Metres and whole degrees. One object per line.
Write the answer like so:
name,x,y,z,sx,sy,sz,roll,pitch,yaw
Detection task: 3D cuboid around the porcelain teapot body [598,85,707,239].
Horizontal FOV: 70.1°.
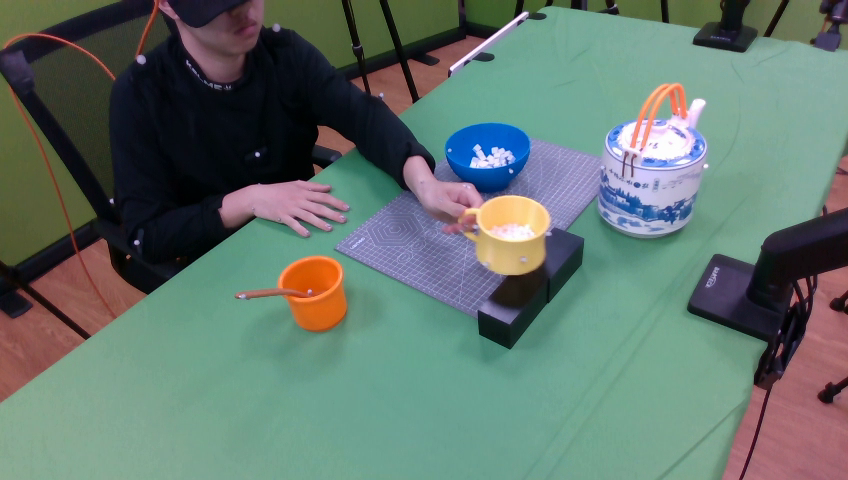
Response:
porcelain teapot body,0.363,-0.137,0.921,0.144,0.226,0.206,29,51,36

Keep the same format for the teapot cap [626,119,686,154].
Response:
teapot cap,0.338,-0.153,0.882,0.085,0.044,0.085,-3,38,3

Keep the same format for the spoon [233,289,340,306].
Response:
spoon,-0.180,0.075,0.811,0.041,0.195,0.021,17,91,31

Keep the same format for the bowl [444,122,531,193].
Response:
bowl,0.113,-0.136,1.063,0.151,0.077,0.150,-4,41,4

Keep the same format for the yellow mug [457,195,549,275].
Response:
yellow mug,0.107,-0.012,0.849,0.130,0.064,0.100,15,45,19
